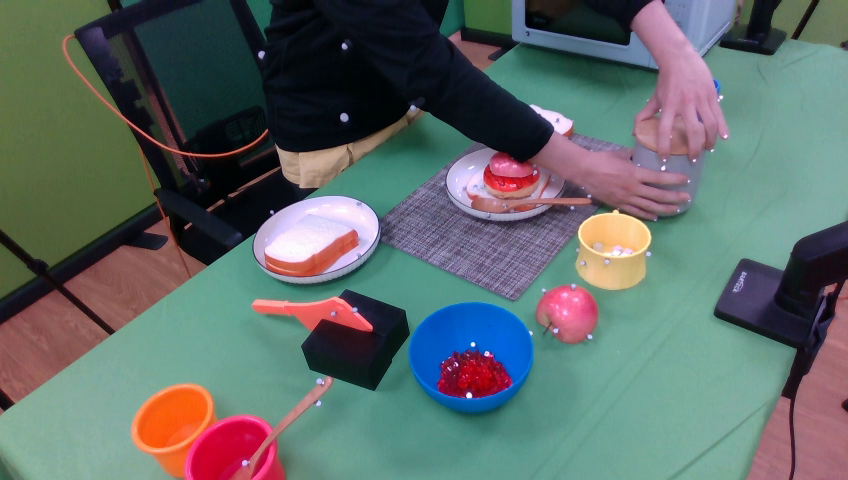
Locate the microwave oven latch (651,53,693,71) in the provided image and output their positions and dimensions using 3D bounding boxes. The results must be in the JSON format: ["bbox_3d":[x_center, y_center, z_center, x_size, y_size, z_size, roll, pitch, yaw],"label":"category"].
[{"bbox_3d":[0.532,-0.387,1.301,0.078,0.029,0.030,28,52,34],"label":"microwave oven latch"}]

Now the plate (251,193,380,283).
[{"bbox_3d":[-0.173,-0.001,0.984,0.209,0.038,0.208,-4,41,4],"label":"plate"}]

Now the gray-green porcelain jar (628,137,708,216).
[{"bbox_3d":[0.384,-0.111,0.964,0.106,0.127,0.105,-4,42,4],"label":"gray-green porcelain jar"}]

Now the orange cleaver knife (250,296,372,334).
[{"bbox_3d":[-0.158,0.103,0.828,0.210,0.078,0.012,-4,43,39],"label":"orange cleaver knife"}]

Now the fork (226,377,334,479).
[{"bbox_3d":[-0.163,0.216,0.647,0.207,0.019,0.028,-49,42,16],"label":"fork"}]

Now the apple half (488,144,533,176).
[{"bbox_3d":[0.144,-0.139,0.992,0.081,0.033,0.081,2,38,-1],"label":"apple half"}]

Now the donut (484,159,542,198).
[{"bbox_3d":[0.149,-0.109,1.015,0.099,0.048,0.098,-4,43,4],"label":"donut"}]

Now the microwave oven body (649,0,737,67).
[{"bbox_3d":[0.475,-0.602,1.411,0.438,0.261,0.327,23,50,32],"label":"microwave oven body"}]

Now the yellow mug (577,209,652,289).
[{"bbox_3d":[0.280,0.004,0.893,0.099,0.064,0.130,5,41,15],"label":"yellow mug"}]

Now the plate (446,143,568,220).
[{"bbox_3d":[0.143,-0.097,1.045,0.207,0.039,0.206,-4,40,4],"label":"plate"}]

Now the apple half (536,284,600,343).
[{"bbox_3d":[0.196,0.091,0.815,0.075,0.053,0.080,-22,42,-20],"label":"apple half"}]

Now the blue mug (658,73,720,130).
[{"bbox_3d":[0.483,-0.250,1.127,0.082,0.106,0.115,-25,44,-19],"label":"blue mug"}]

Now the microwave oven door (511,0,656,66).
[{"bbox_3d":[0.351,-0.539,1.348,0.353,0.245,0.039,24,50,31],"label":"microwave oven door"}]

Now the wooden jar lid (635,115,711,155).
[{"bbox_3d":[0.378,-0.157,0.923,0.108,0.021,0.108,-3,40,3],"label":"wooden jar lid"}]

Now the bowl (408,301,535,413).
[{"bbox_3d":[0.060,0.156,0.739,0.151,0.077,0.150,-4,40,4],"label":"bowl"}]

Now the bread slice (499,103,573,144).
[{"bbox_3d":[0.231,-0.232,1.205,0.105,0.019,0.130,-36,47,-29],"label":"bread slice"}]

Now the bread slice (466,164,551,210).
[{"bbox_3d":[0.141,-0.093,1.042,0.133,0.018,0.107,9,43,20],"label":"bread slice"}]

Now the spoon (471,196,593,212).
[{"bbox_3d":[0.172,-0.060,0.974,0.193,0.022,0.041,-3,42,18],"label":"spoon"}]
